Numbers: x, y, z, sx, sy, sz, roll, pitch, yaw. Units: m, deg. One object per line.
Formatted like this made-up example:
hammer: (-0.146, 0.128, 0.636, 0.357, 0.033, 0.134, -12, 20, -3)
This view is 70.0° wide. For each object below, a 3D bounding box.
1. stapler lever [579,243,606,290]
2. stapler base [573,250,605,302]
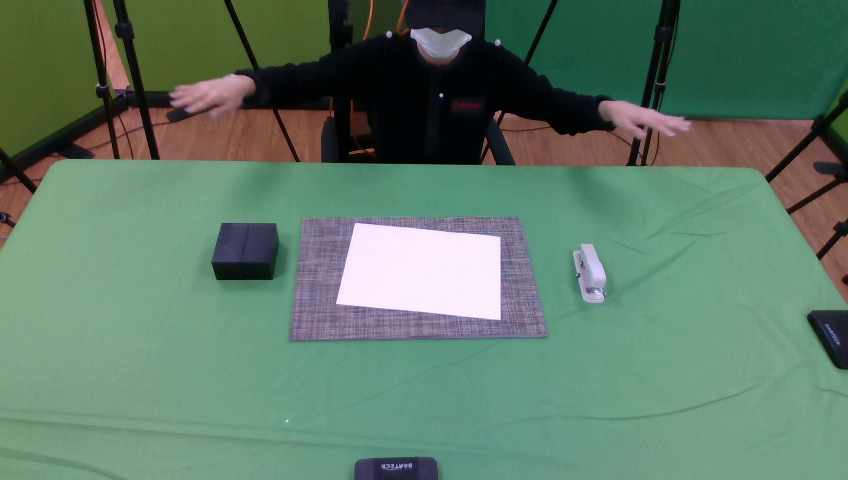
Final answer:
stapler lever: (0.318, 0.044, 1.144, 0.027, 0.040, 0.117, 3, 45, -3)
stapler base: (0.317, 0.062, 1.160, 0.041, 0.024, 0.129, 3, 44, -3)
